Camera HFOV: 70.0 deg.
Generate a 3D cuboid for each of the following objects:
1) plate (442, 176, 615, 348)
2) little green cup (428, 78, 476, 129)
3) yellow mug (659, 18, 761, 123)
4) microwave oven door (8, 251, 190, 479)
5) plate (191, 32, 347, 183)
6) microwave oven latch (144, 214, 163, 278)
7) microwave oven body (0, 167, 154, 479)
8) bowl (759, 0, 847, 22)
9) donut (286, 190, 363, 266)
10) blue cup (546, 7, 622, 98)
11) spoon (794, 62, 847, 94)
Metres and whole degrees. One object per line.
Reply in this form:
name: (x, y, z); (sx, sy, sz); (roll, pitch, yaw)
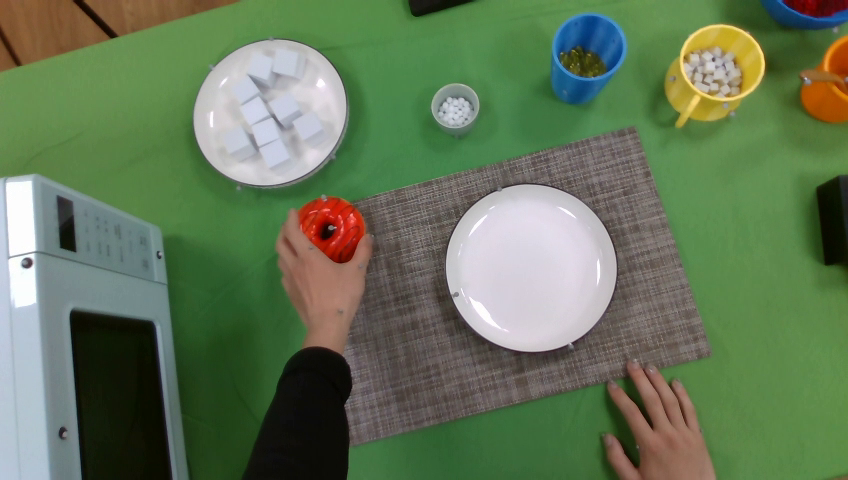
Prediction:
plate: (0.126, 0.027, 0.742); (0.209, 0.038, 0.208); (-1, 80, 5)
little green cup: (0.037, -0.175, 0.789); (0.061, 0.039, 0.061); (-1, 79, 5)
yellow mug: (0.345, -0.202, 0.752); (0.099, 0.064, 0.130); (33, 85, 10)
microwave oven door: (-0.323, 0.202, 0.631); (0.039, 0.245, 0.354); (-12, 79, 3)
plate: (-0.202, -0.173, 0.808); (0.207, 0.039, 0.207); (-1, 80, 5)
microwave oven latch: (-0.353, 0.009, 0.770); (0.030, 0.029, 0.079); (-10, 80, 3)
microwave oven body: (-0.473, 0.192, 0.650); (0.326, 0.261, 0.439); (-12, 80, 2)
bowl: (0.476, -0.332, 0.758); (0.151, 0.077, 0.151); (-1, 81, 5)
donut: (-0.127, -0.015, 0.768); (0.099, 0.048, 0.098); (-1, 82, 7)
blue cup: (0.190, -0.223, 0.752); (0.092, 0.100, 0.092); (-1, 81, 4)
spoon: (0.468, -0.192, 0.699); (0.021, 0.195, 0.041); (-29, 73, 45)
